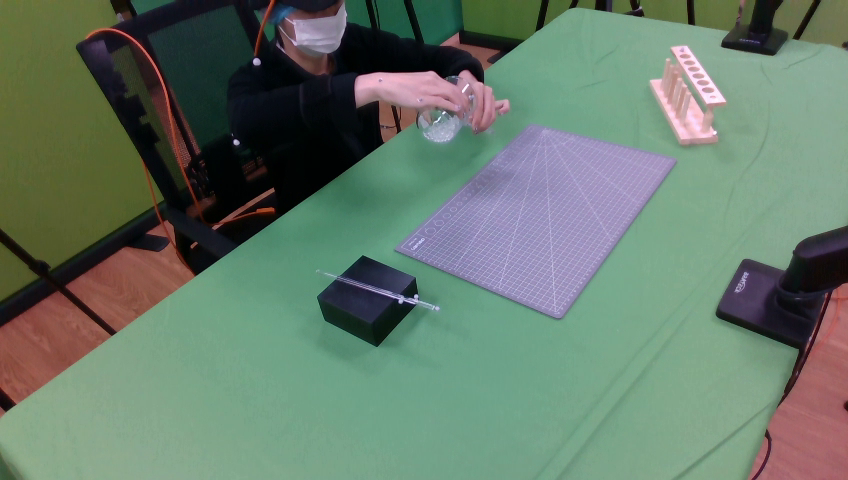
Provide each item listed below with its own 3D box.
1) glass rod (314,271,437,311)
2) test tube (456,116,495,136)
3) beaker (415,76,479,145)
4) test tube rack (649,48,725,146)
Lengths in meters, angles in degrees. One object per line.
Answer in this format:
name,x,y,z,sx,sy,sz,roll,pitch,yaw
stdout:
glass rod,-0.072,0.069,0.837,0.198,0.008,0.008,14,44,24
test tube,0.095,-0.205,1.091,0.017,0.017,0.151,16,8,26
beaker,0.036,-0.204,0.971,0.073,0.084,0.100,8,42,26
test tube rack,0.508,-0.285,1.186,0.067,0.085,0.241,-4,40,6
